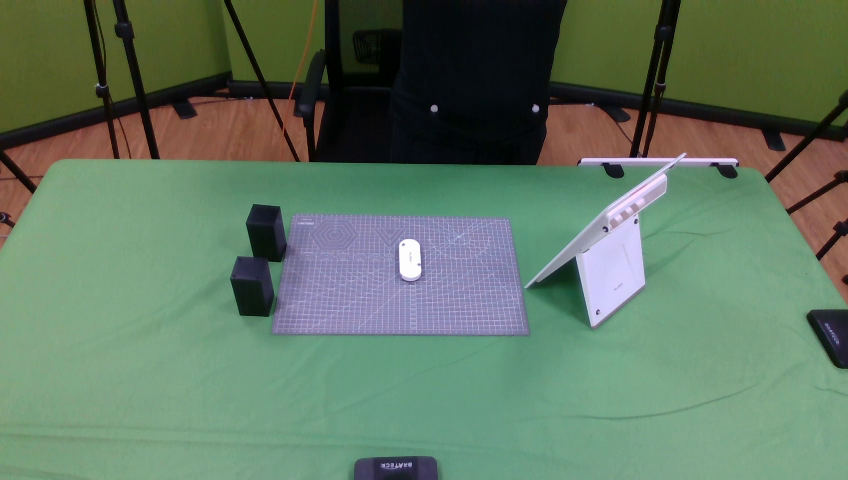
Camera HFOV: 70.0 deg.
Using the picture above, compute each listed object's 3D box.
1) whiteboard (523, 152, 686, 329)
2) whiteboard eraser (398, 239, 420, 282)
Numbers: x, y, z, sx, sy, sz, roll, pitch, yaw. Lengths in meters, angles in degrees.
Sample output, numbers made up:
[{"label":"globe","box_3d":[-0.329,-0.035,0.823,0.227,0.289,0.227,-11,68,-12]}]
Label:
[{"label":"whiteboard","box_3d":[0.346,0.024,1.047,0.217,0.306,0.143,-30,74,-29]},{"label":"whiteboard eraser","box_3d":[-0.029,0.039,1.156,0.041,0.019,0.100,0,45,-3]}]
